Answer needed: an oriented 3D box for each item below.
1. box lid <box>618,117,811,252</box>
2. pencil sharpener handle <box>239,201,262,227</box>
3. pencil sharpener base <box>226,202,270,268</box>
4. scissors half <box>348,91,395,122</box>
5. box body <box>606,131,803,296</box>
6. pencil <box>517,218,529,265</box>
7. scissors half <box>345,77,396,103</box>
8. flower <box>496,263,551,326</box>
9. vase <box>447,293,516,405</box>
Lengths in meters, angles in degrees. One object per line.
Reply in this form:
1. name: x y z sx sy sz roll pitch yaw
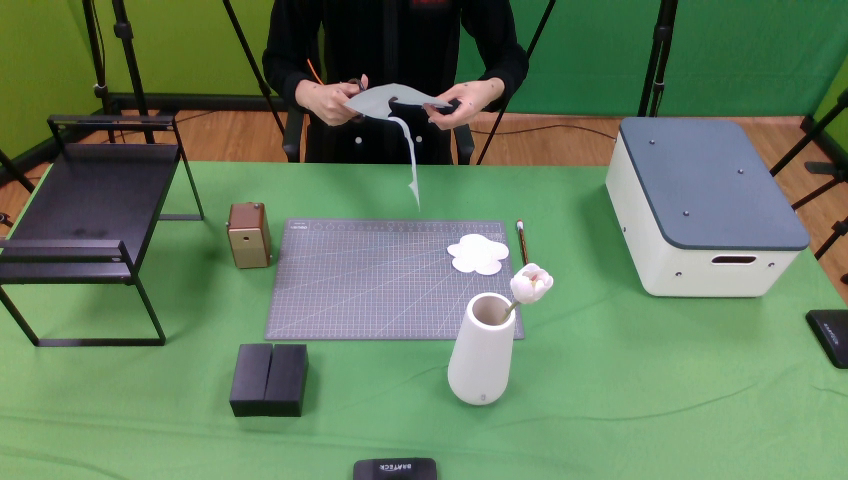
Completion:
1. box lid: 0.534 -0.117 1.149 0.263 0.015 0.369 0 47 -3
2. pencil sharpener handle: -0.325 -0.055 1.150 0.036 0.068 0.030 -13 46 3
3. pencil sharpener base: -0.323 -0.010 1.123 0.061 0.107 0.076 -3 46 -7
4. scissors half: -0.095 -0.241 1.078 0.013 0.175 0.040 -12 93 -31
5. box body: 0.530 -0.067 1.204 0.254 0.161 0.361 0 46 -4
6. pencil: 0.201 0.028 1.197 0.012 0.012 0.193 1 48 -3
7. scissors half: -0.097 -0.262 1.074 0.013 0.040 0.174 -18 29 -30
8. flower: 0.102 0.120 0.853 0.044 0.363 0.038 -2 64 -10
9. vase: 0.091 0.169 0.921 0.098 0.201 0.097 3 47 -3
